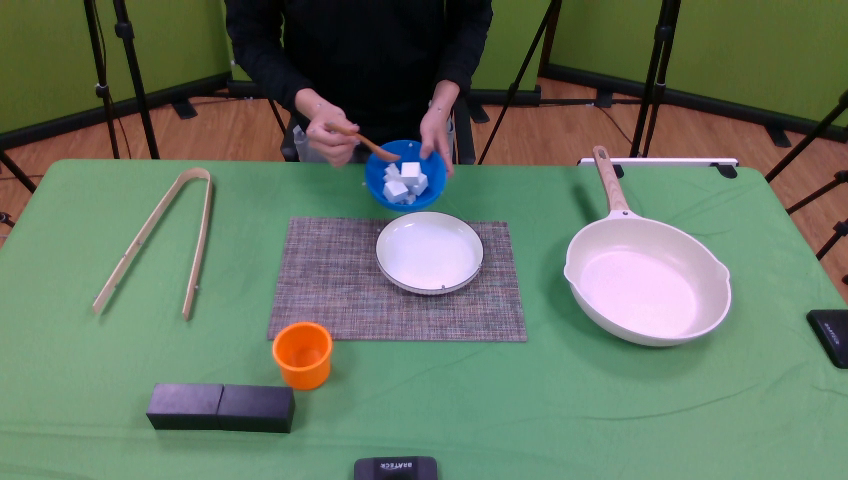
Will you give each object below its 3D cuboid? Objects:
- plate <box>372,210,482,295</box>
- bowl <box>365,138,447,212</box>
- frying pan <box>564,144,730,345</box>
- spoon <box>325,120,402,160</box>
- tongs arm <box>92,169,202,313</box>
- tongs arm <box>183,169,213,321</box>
[{"bbox_3d":[0.005,0.028,1.155,0.208,0.039,0.206,3,46,-2],"label":"plate"},{"bbox_3d":[-0.035,-0.107,1.135,0.151,0.077,0.150,2,61,-3],"label":"bowl"},{"bbox_3d":[0.396,-0.008,1.179,0.307,0.103,0.484,0,55,-5],"label":"frying pan"},{"bbox_3d":[-0.104,-0.172,1.047,0.041,0.195,0.021,3,77,36],"label":"spoon"},{"bbox_3d":[-0.518,-0.012,1.160,0.051,0.026,0.382,7,45,1],"label":"tongs arm"},{"bbox_3d":[-0.436,-0.005,1.167,0.028,0.028,0.385,-5,46,-6],"label":"tongs arm"}]
